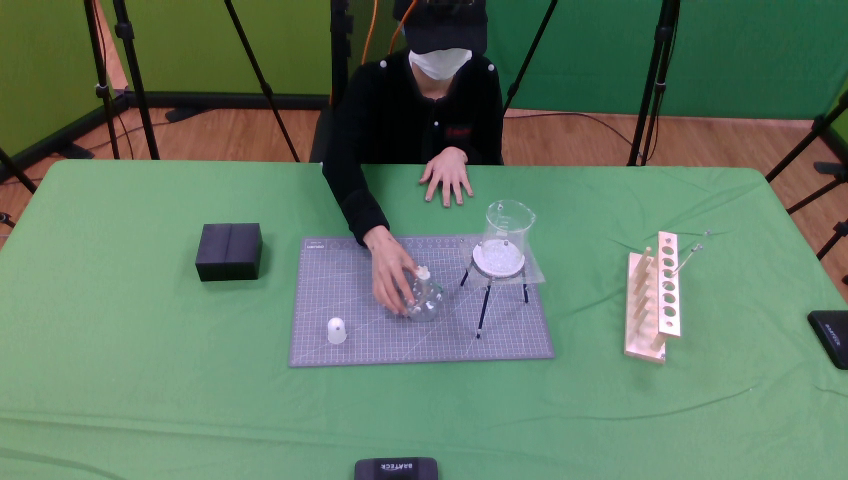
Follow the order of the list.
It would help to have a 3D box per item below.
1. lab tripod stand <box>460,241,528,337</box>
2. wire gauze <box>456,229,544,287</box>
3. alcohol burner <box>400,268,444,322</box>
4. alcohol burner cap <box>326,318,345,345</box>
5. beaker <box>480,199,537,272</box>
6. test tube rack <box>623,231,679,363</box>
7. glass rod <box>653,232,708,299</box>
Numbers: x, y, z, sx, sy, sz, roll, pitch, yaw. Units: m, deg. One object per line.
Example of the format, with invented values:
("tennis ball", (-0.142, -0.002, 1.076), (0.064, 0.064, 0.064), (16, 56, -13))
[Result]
("lab tripod stand", (0.122, 0.075, 1.054), (0.148, 0.132, 0.147), (3, 44, -2))
("wire gauze", (0.125, 0.030, 1.008), (0.125, 0.011, 0.120), (-3, 48, -11))
("alcohol burner", (-0.003, 0.088, 1.045), (0.078, 0.119, 0.077), (2, 47, -3))
("alcohol burner cap", (-0.149, 0.151, 1.023), (0.034, 0.048, 0.033), (3, 46, -2))
("beaker", (0.132, -0.004, 0.973), (0.084, 0.101, 0.073), (-4, 47, -9))
("test tube rack", (0.410, 0.094, 1.096), (0.066, 0.085, 0.241), (13, 46, 9))
("glass rod", (0.441, 0.049, 1.050), (0.008, 0.200, 0.008), (4, 52, -5))
